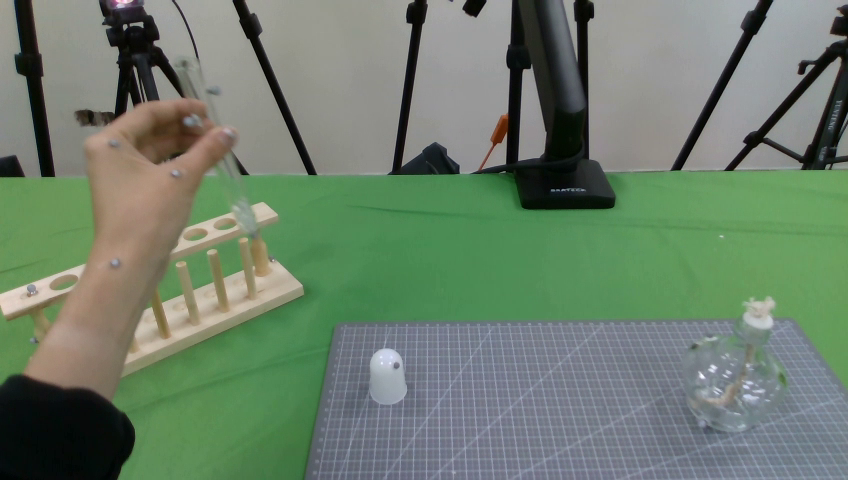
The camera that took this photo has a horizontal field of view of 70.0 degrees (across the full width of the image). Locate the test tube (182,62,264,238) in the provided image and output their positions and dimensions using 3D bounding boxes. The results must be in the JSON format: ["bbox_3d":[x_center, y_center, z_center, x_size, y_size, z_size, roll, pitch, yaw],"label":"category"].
[{"bbox_3d":[-0.138,-0.055,0.427,0.017,0.151,0.017,-2,47,2],"label":"test tube"}]

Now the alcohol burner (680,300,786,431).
[{"bbox_3d":[0.245,0.092,0.472,0.078,0.120,0.077,0,36,0],"label":"alcohol burner"}]

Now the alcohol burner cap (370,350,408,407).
[{"bbox_3d":[-0.031,0.114,0.512,0.034,0.048,0.033,-1,34,1],"label":"alcohol burner cap"}]

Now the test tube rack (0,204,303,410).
[{"bbox_3d":[-0.242,0.054,0.573,0.243,0.086,0.066,-25,40,-31],"label":"test tube rack"}]
